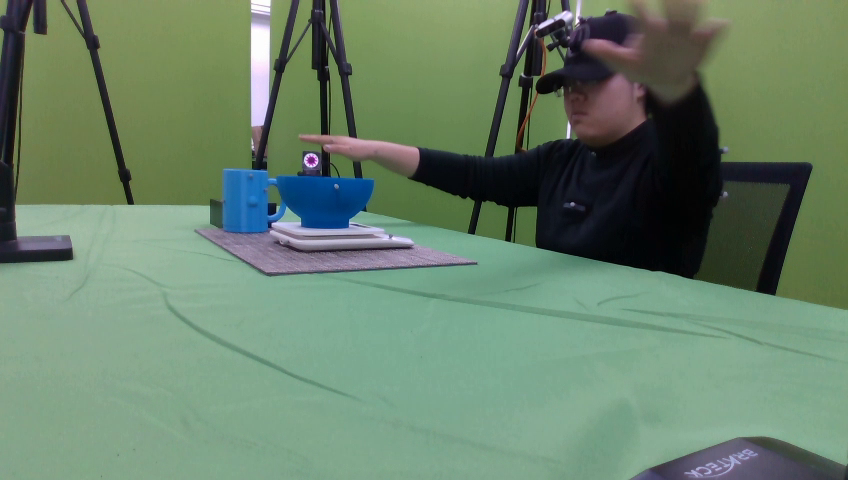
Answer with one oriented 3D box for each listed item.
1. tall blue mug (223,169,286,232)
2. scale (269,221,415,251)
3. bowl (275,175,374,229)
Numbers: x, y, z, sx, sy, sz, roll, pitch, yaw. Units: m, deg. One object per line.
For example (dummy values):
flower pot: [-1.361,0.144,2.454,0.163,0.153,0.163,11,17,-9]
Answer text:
tall blue mug: [-0.310,-0.072,1.091,0.077,0.108,0.107,5,8,27]
scale: [-0.130,-0.008,0.959,0.202,0.031,0.148,-1,9,-32]
bowl: [-0.153,-0.059,0.932,0.151,0.077,0.151,3,6,0]
